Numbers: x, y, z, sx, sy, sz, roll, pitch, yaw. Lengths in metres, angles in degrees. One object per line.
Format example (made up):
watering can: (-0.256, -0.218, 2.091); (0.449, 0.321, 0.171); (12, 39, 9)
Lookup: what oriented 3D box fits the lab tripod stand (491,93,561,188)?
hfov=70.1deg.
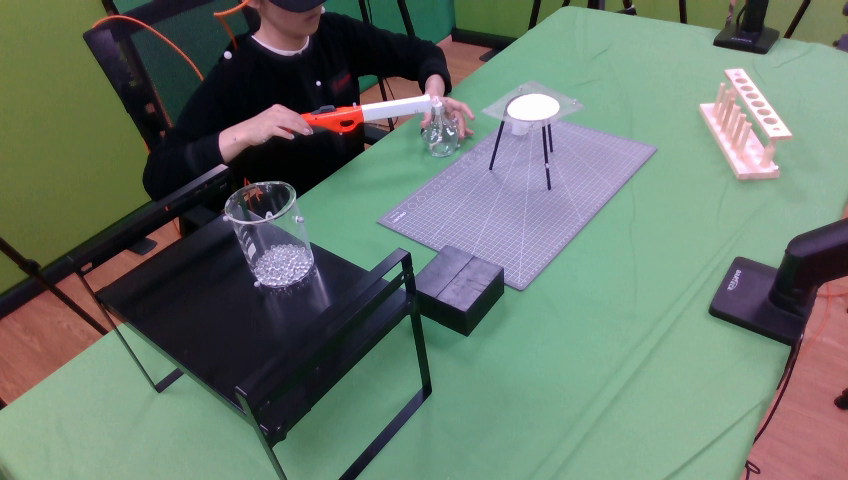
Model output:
lab tripod stand: (0.189, -0.180, 1.066); (0.148, 0.132, 0.147); (-5, 42, 5)

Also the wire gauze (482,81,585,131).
wire gauze: (0.183, -0.224, 1.015); (0.125, 0.011, 0.120); (-32, 46, -23)

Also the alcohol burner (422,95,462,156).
alcohol burner: (0.033, -0.223, 1.161); (0.078, 0.119, 0.077); (-4, 39, 4)

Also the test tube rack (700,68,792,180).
test tube rack: (0.572, -0.215, 1.090); (0.066, 0.085, 0.241); (-3, 41, 7)

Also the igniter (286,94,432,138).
igniter: (-0.122, -0.231, 1.122); (0.277, 0.057, 0.025); (-11, 44, -2)

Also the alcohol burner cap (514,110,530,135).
alcohol burner cap: (0.194, -0.235, 1.200); (0.034, 0.048, 0.033); (-5, 42, 5)

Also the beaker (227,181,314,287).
beaker: (-0.166, -0.006, 0.670); (0.074, 0.101, 0.083); (-8, 40, 0)
